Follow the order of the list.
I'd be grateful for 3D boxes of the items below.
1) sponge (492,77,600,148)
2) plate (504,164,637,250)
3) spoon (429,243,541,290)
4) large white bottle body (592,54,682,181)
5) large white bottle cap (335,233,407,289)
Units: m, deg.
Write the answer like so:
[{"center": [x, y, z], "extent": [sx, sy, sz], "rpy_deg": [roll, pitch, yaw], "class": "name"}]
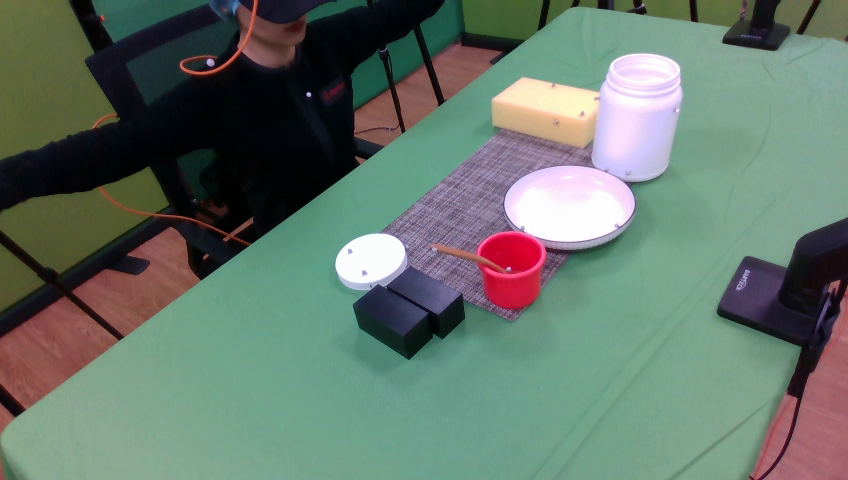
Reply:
[{"center": [0.254, -0.259, 1.207], "extent": [0.205, 0.061, 0.118], "rpy_deg": [22, 47, 31], "class": "sponge"}, {"center": [0.234, -0.051, 0.981], "extent": [0.209, 0.038, 0.208], "rpy_deg": [-5, 40, 5], "class": "plate"}, {"center": [0.086, 0.033, 0.826], "extent": [0.195, 0.021, 0.041], "rpy_deg": [23, 28, -33], "class": "spoon"}, {"center": [0.361, -0.208, 1.027], "extent": [0.130, 0.185, 0.130], "rpy_deg": [-3, 41, 3], "class": "large white bottle body"}, {"center": [-0.084, 0.032, 0.961], "extent": [0.115, 0.018, 0.114], "rpy_deg": [-6, 41, 6], "class": "large white bottle cap"}]
